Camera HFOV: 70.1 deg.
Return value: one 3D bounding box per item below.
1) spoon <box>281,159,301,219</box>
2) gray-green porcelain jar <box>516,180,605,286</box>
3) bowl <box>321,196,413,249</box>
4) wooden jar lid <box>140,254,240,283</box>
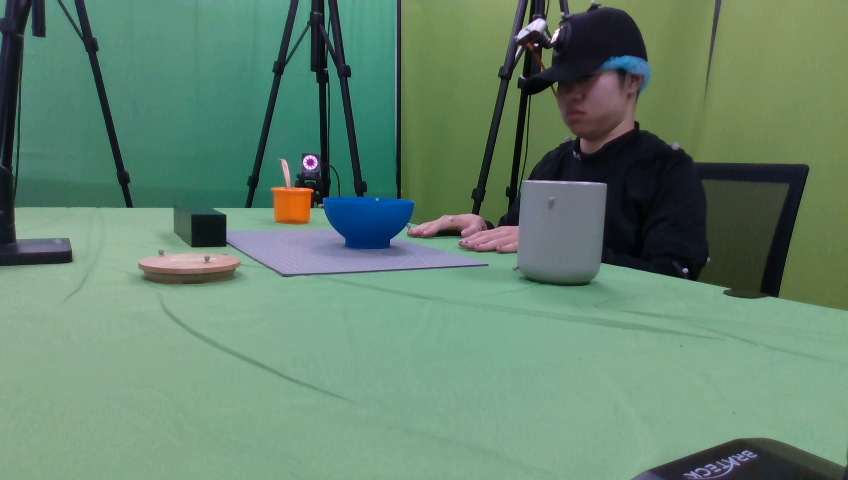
[{"bbox_3d":[-0.307,-0.117,1.368,0.042,0.193,0.021,1,-37,-23],"label":"spoon"},{"bbox_3d":[0.172,-0.010,0.768,0.106,0.126,0.106,2,7,0],"label":"gray-green porcelain jar"},{"bbox_3d":[-0.094,-0.029,0.991,0.151,0.077,0.151,2,7,0],"label":"bowl"},{"bbox_3d":[-0.269,0.032,0.698,0.108,0.020,0.108,2,5,0],"label":"wooden jar lid"}]
